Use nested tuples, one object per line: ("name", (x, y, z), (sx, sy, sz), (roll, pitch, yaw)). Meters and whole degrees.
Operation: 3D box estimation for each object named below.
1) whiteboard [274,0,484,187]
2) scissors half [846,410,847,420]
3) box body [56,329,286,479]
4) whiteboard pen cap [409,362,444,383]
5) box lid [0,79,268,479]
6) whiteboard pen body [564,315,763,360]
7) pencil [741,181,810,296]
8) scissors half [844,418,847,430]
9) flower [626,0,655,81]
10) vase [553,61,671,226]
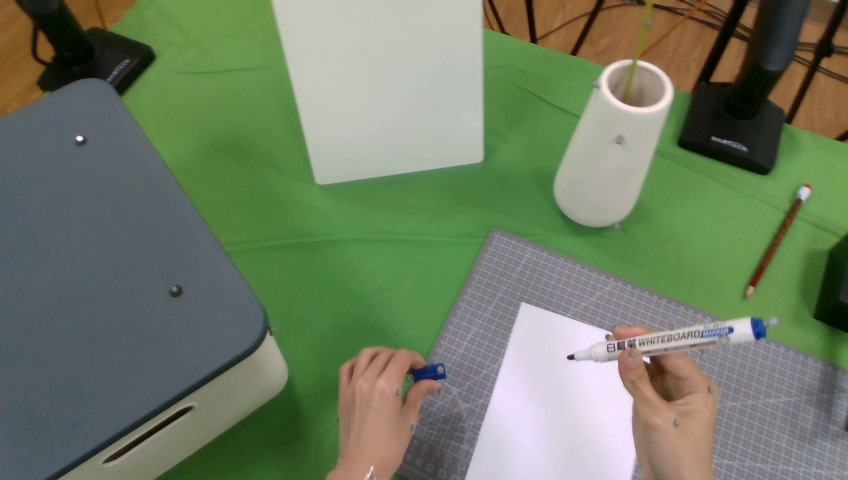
("whiteboard", (-0.050, -0.242, 0.717), (0.217, 0.308, 0.142), (-8, 42, -4))
("scissors half", (0.452, 0.103, 0.600), (0.012, 0.040, 0.174), (21, 64, 33))
("box body", (-0.332, 0.054, 0.597), (0.254, 0.161, 0.361), (-34, 66, -17))
("whiteboard pen cap", (0.003, 0.128, 0.585), (0.033, 0.018, 0.018), (-7, 61, -6))
("box lid", (-0.333, 0.016, 0.533), (0.263, 0.015, 0.368), (-33, 66, -18))
("whiteboard pen body", (0.163, 0.073, 0.430), (0.140, 0.017, 0.017), (-18, 52, 36))
("pencil", (0.418, -0.004, 0.720), (0.012, 0.012, 0.193), (34, 67, 18))
("scissors half", (0.461, 0.113, 0.616), (0.012, 0.040, 0.175), (20, 81, 38))
("flower", (0.201, -0.154, 0.600), (0.044, 0.365, 0.038), (17, 45, 13))
("vase", (0.203, -0.100, 0.665), (0.098, 0.201, 0.097), (0, 59, 1))
